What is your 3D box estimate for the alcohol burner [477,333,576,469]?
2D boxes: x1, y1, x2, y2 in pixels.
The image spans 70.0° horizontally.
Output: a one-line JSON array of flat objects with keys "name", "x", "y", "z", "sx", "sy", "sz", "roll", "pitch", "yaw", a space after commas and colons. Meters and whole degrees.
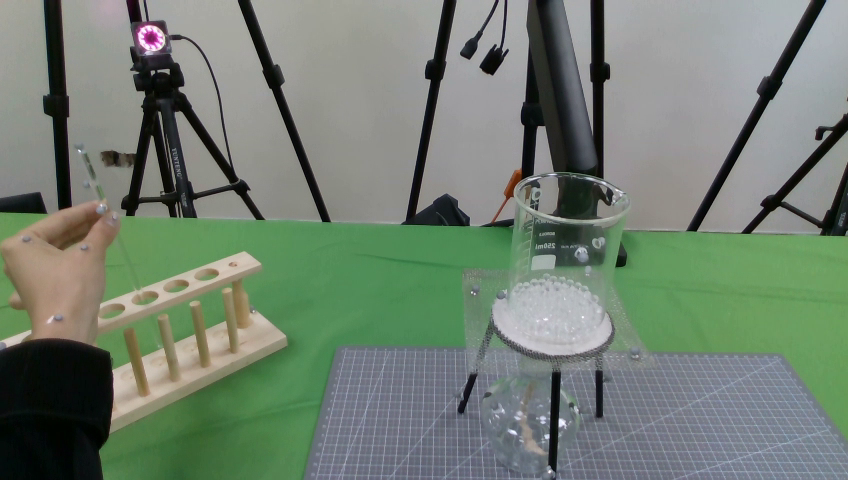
[{"name": "alcohol burner", "x": 0.082, "y": 0.120, "z": 0.475, "sx": 0.078, "sy": 0.120, "sz": 0.077, "roll": 2, "pitch": 30, "yaw": -1}]

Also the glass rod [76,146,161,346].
[{"name": "glass rod", "x": -0.258, "y": 0.014, "z": 0.517, "sx": 0.008, "sy": 0.201, "sz": 0.008, "roll": -3, "pitch": 32, "yaw": 3}]

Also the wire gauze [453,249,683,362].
[{"name": "wire gauze", "x": 0.096, "y": 0.043, "z": 0.426, "sx": 0.125, "sy": 0.011, "sz": 0.120, "roll": -5, "pitch": 28, "yaw": -20}]

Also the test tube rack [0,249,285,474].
[{"name": "test tube rack", "x": -0.252, "y": 0.096, "z": 0.545, "sx": 0.243, "sy": 0.086, "sz": 0.066, "roll": -24, "pitch": 38, "yaw": -37}]

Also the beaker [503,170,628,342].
[{"name": "beaker", "x": 0.094, "y": 0.012, "z": 0.415, "sx": 0.084, "sy": 0.101, "sz": 0.073, "roll": -10, "pitch": 33, "yaw": -18}]

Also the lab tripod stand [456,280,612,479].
[{"name": "lab tripod stand", "x": 0.092, "y": 0.112, "z": 0.470, "sx": 0.148, "sy": 0.132, "sz": 0.147, "roll": 2, "pitch": 31, "yaw": -1}]
